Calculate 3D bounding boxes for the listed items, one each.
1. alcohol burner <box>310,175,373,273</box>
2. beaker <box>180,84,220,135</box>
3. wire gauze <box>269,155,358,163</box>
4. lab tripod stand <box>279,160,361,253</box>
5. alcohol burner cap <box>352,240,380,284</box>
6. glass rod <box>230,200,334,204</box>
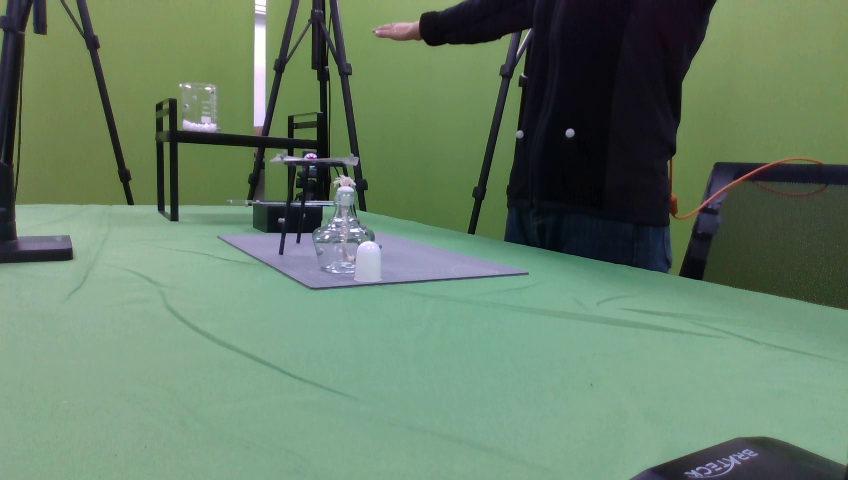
[{"bbox_3d":[-0.100,-0.020,0.740,0.078,0.119,0.078,1,6,0],"label":"alcohol burner"},{"bbox_3d":[-0.475,-0.275,1.281,0.073,0.100,0.084,7,9,36],"label":"beaker"},{"bbox_3d":[-0.159,-0.118,0.886,0.122,0.011,0.125,1,7,-9],"label":"wire gauze"},{"bbox_3d":[-0.166,-0.052,0.897,0.148,0.131,0.148,0,7,0],"label":"lab tripod stand"},{"bbox_3d":[-0.065,0.023,0.690,0.034,0.048,0.034,3,10,0],"label":"alcohol burner cap"},{"bbox_3d":[-0.267,-0.072,1.155,0.201,0.008,0.008,-1,8,-28],"label":"glass rod"}]
